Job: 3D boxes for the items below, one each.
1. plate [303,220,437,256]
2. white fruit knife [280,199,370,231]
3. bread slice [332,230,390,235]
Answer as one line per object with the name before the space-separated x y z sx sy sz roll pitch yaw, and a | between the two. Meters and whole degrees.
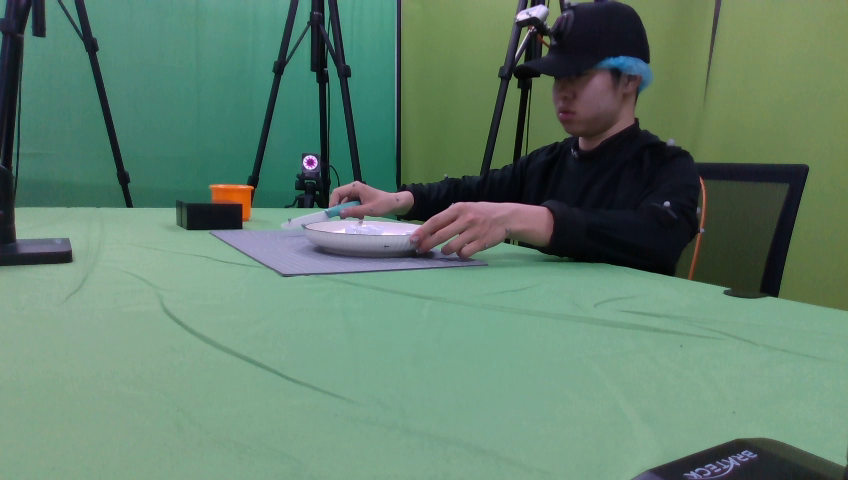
plate | -0.084 -0.003 0.951 0.209 0.038 0.209 3 7 0
white fruit knife | -0.182 -0.048 1.138 0.016 0.027 0.208 20 28 39
bread slice | -0.088 0.000 0.947 0.105 0.019 0.131 -5 11 -45
